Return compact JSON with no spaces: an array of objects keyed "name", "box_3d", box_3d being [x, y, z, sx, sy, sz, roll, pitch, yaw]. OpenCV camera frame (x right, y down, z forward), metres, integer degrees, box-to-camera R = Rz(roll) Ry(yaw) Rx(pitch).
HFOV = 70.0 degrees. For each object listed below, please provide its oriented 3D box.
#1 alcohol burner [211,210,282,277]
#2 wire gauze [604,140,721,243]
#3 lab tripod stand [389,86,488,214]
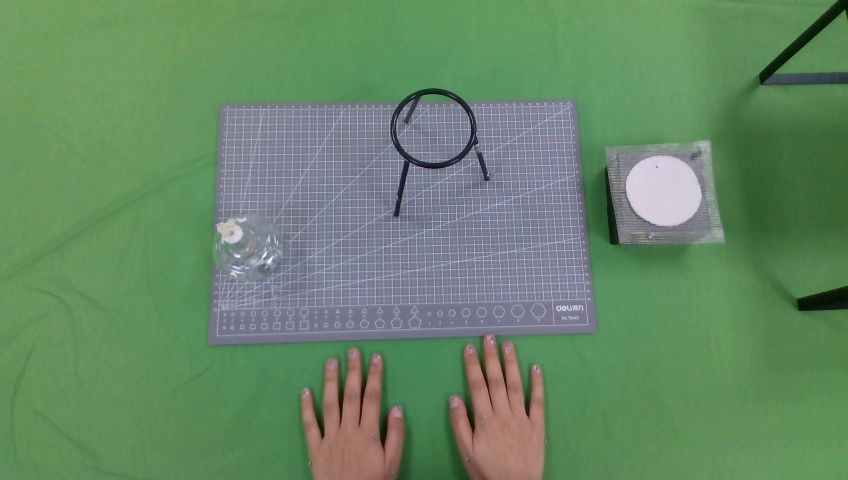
[{"name":"alcohol burner","box_3d":[-0.198,0.000,0.663,0.078,0.119,0.077,0,78,-2]},{"name":"wire gauze","box_3d":[0.276,-0.056,0.700,0.125,0.011,0.121,-2,79,-2]},{"name":"lab tripod stand","box_3d":[0.005,-0.106,0.685,0.148,0.132,0.147,0,76,0]}]
